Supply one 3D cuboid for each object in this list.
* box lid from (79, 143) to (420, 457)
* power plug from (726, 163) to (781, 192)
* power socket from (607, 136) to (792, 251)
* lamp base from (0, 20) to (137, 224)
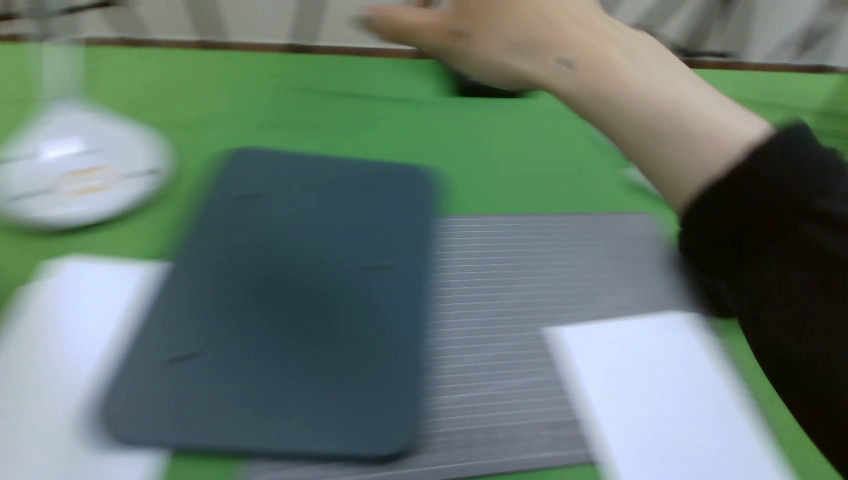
[{"bbox_3d":[-0.135,0.029,0.585,0.264,0.015,0.367,5,45,-5],"label":"box lid"},{"bbox_3d":[0.429,-0.080,0.796,0.053,0.035,0.072,-30,22,-38],"label":"power plug"},{"bbox_3d":[0.341,-0.062,0.750,0.225,0.033,0.072,32,49,21],"label":"power socket"},{"bbox_3d":[-0.384,-0.134,0.579,0.161,0.181,0.177,-29,54,-32],"label":"lamp base"}]
